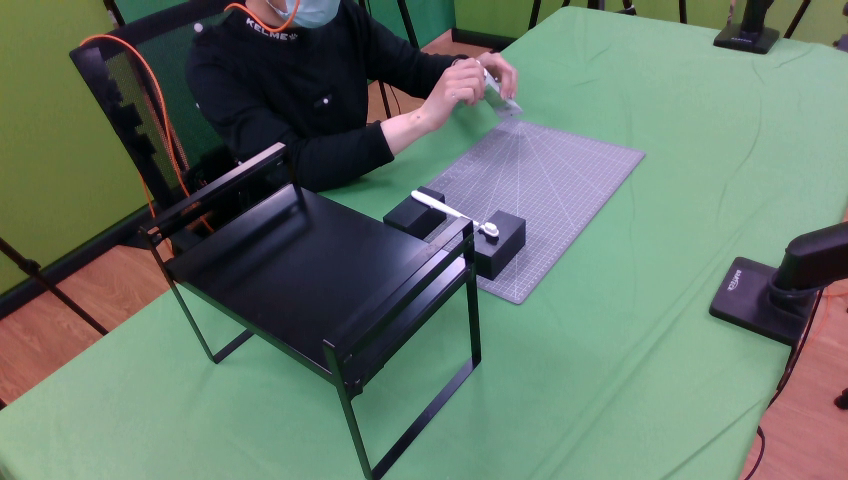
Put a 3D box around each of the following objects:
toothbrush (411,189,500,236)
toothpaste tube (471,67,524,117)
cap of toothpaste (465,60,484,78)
[{"bbox_3d":[0.044,-0.046,0.940,0.180,0.017,0.014,28,68,36],"label":"toothbrush"},{"bbox_3d":[0.133,-0.278,1.138,0.054,0.166,0.034,-4,70,32],"label":"toothpaste tube"},{"bbox_3d":[0.090,-0.303,1.076,0.037,0.011,0.037,-12,65,29],"label":"cap of toothpaste"}]
